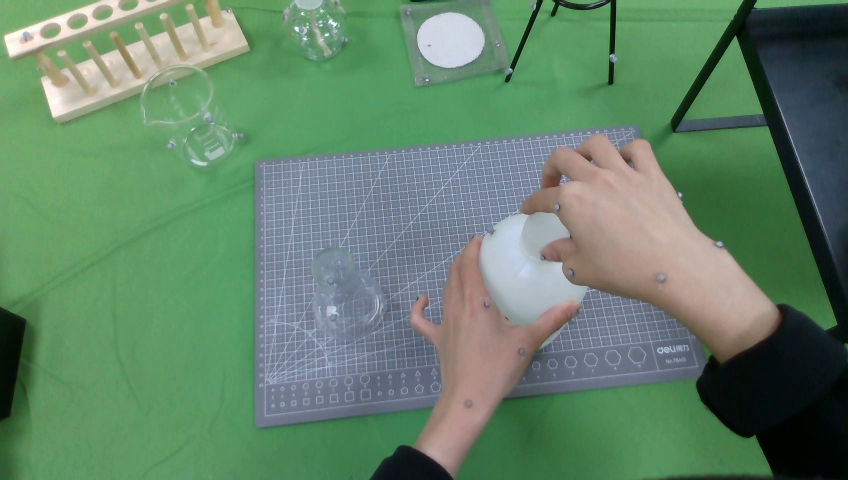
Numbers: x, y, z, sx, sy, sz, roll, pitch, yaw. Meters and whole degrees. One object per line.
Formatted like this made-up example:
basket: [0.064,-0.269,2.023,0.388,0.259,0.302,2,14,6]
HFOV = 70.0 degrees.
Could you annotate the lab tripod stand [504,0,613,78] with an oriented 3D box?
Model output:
lab tripod stand: [0.166,-0.259,0.698,0.148,0.132,0.147,1,66,-1]

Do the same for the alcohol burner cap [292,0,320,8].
alcohol burner cap: [-0.134,-0.291,0.683,0.034,0.048,0.033,4,66,-8]

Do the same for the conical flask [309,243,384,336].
conical flask: [-0.080,0.042,0.577,0.075,0.123,0.075,0,67,1]

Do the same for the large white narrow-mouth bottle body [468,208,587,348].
large white narrow-mouth bottle body: [0.092,0.028,0.545,0.102,0.196,0.101,-1,67,2]

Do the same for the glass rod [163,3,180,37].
glass rod: [-0.299,-0.298,0.668,0.008,0.201,0.008,2,65,-4]

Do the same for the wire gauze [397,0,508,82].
wire gauze: [0.035,-0.261,0.766,0.121,0.011,0.124,-10,68,-5]

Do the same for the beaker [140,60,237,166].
beaker: [-0.255,-0.132,0.664,0.073,0.101,0.084,39,73,15]

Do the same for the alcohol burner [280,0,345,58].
alcohol burner: [-0.134,-0.275,0.716,0.078,0.120,0.077,0,65,0]

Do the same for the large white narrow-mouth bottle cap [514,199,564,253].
large white narrow-mouth bottle cap: [0.087,-0.010,0.458,0.038,0.024,0.037,-1,67,2]

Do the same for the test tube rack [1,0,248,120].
test tube rack: [-0.343,-0.235,0.714,0.242,0.086,0.066,-25,70,-10]
